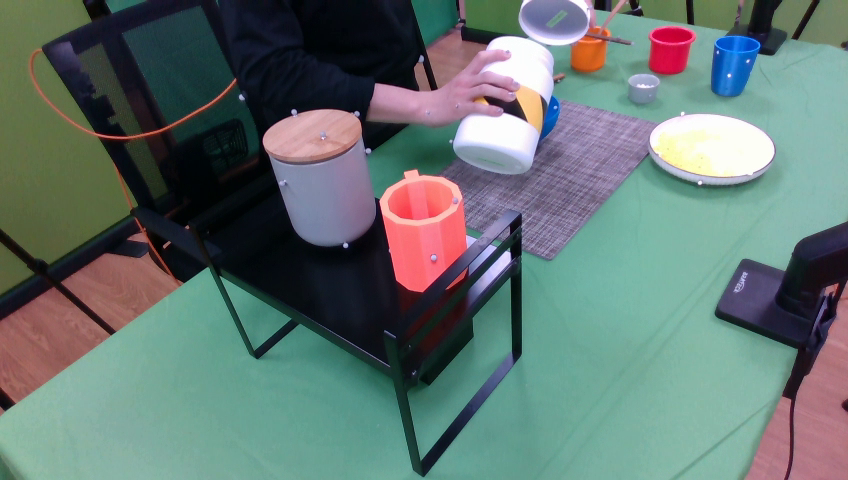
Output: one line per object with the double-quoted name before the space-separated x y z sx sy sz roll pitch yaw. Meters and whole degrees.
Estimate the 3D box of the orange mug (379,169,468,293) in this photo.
"orange mug" -0.002 -0.019 0.665 0.083 0.101 0.125 -12 45 -4

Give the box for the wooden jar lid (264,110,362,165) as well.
"wooden jar lid" -0.122 -0.112 0.673 0.108 0.021 0.108 -4 37 4

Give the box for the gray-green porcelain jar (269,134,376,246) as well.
"gray-green porcelain jar" -0.115 -0.064 0.715 0.106 0.127 0.105 -4 40 4

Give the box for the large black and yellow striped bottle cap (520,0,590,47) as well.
"large black and yellow striped bottle cap" 0.217 -0.365 1.002 0.114 0.116 0.019 9 71 19

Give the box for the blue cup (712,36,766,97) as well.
"blue cup" 0.627 -0.350 1.227 0.092 0.100 0.092 -4 39 4

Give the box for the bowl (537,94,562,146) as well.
"bowl" 0.187 -0.223 1.161 0.151 0.077 0.150 -4 40 4

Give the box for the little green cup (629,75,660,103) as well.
"little green cup" 0.458 -0.314 1.260 0.061 0.039 0.061 -4 39 4

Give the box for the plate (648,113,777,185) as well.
"plate" 0.506 -0.158 1.073 0.209 0.038 0.208 -5 40 4

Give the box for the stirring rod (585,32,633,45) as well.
"stirring rod" 0.382 -0.454 1.345 0.174 0.006 0.014 27 52 33

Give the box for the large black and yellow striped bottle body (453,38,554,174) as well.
"large black and yellow striped bottle body" 0.131 -0.212 0.963 0.130 0.131 0.183 13 80 23

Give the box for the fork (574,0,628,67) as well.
"fork" 0.413 -0.481 1.377 0.207 0.019 0.028 -56 43 12

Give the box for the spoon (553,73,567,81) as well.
"spoon" 0.249 -0.336 1.332 0.194 0.022 0.041 -32 33 -25
